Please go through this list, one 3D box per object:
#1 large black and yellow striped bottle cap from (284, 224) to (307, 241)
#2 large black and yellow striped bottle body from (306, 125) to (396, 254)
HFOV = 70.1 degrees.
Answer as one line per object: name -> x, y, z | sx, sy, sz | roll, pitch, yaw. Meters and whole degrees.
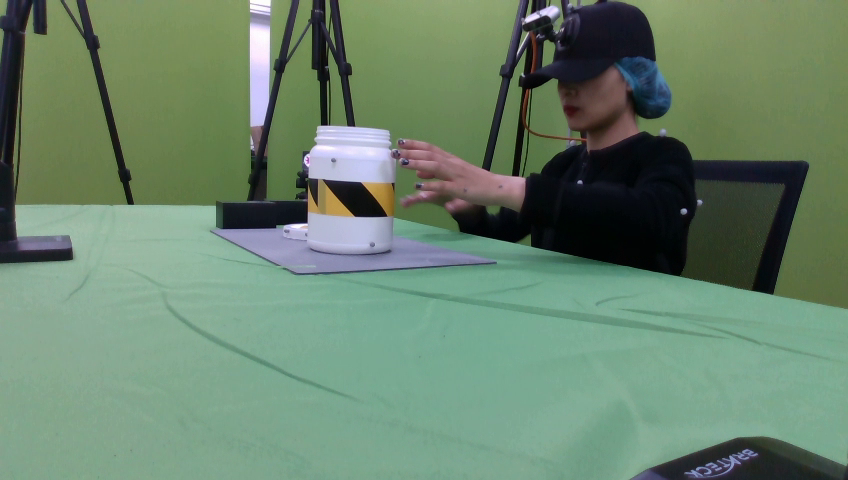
large black and yellow striped bottle cap -> -0.186, -0.014, 1.055 | 0.115, 0.019, 0.115 | 1, 8, 0
large black and yellow striped bottle body -> -0.109, -0.077, 0.913 | 0.131, 0.184, 0.130 | 3, 8, 0
